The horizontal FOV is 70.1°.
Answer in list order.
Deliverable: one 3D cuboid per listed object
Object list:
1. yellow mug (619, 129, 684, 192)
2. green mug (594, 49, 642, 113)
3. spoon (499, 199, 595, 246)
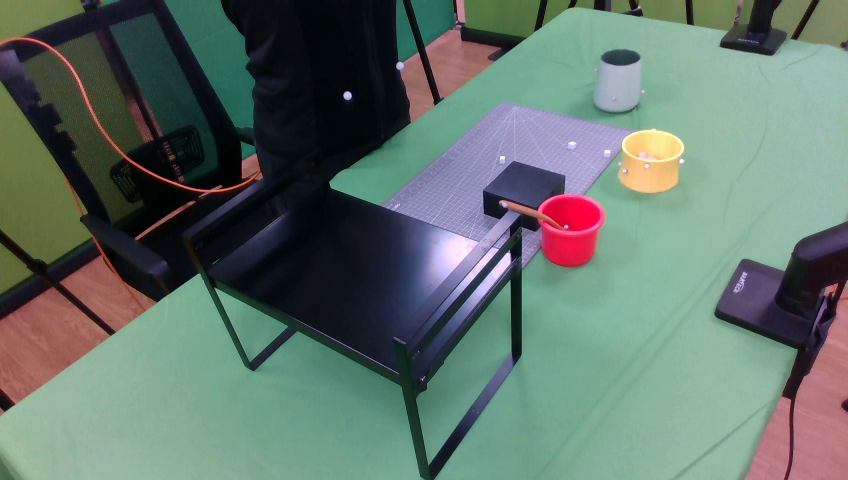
[{"bbox_3d":[0.396,-0.147,1.054,0.099,0.064,0.130,6,42,16],"label":"yellow mug"},{"bbox_3d":[0.397,-0.333,1.240,0.092,0.105,0.125,-3,41,7],"label":"green mug"},{"bbox_3d":[0.183,-0.028,0.888,0.195,0.021,0.041,24,25,-33],"label":"spoon"}]
